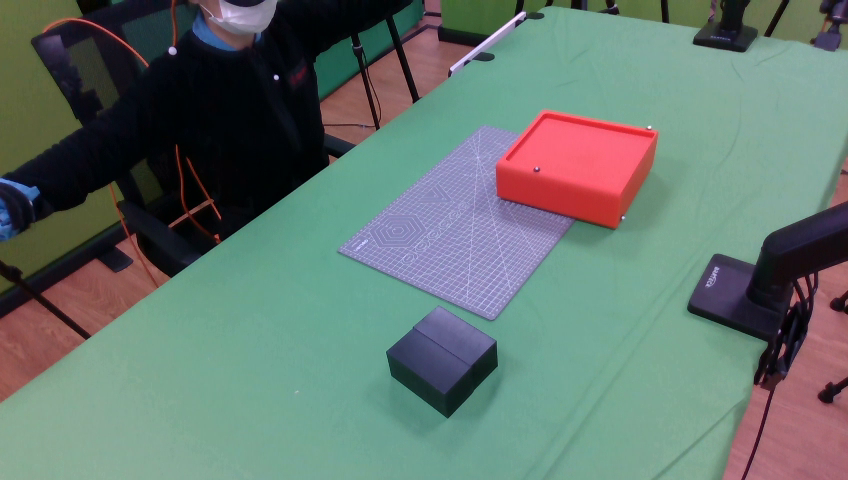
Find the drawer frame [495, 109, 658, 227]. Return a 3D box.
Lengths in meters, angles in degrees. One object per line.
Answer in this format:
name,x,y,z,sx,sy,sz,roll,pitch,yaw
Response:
drawer frame,0.260,-0.130,1.031,0.212,0.083,0.202,18,46,26

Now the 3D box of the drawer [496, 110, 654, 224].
drawer,0.257,-0.130,1.032,0.210,0.073,0.195,18,46,26

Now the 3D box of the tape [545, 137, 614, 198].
tape,0.264,-0.125,1.036,0.117,0.053,0.116,-4,40,4
